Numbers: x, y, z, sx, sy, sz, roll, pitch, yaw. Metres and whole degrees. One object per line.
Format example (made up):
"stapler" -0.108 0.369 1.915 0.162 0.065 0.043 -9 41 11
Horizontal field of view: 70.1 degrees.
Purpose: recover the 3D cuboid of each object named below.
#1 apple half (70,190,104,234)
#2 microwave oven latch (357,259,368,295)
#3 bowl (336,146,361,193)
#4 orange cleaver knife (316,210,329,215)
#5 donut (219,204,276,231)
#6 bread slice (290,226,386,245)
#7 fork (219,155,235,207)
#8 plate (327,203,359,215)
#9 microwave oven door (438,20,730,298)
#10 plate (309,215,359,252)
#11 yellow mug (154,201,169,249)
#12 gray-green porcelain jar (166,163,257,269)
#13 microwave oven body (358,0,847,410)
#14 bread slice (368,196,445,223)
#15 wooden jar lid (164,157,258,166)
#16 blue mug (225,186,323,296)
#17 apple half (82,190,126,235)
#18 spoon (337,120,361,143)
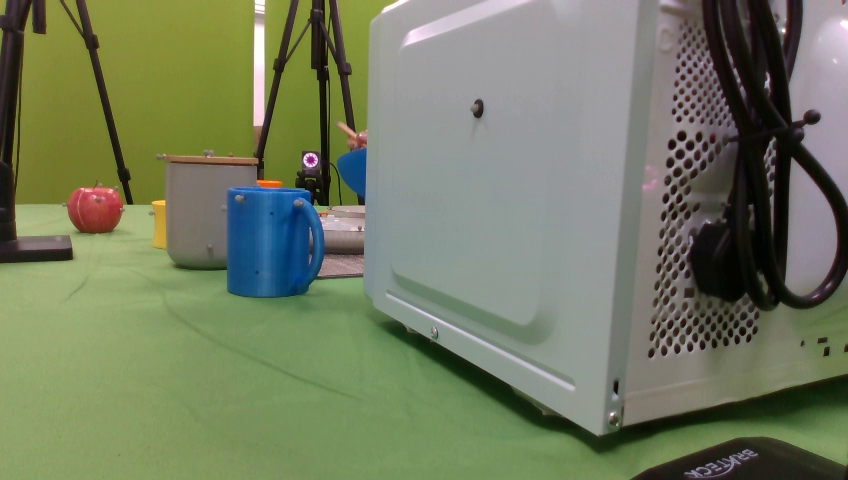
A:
"apple half" -0.552 -0.047 1.010 0.053 0.074 0.081 -1 9 26
"microwave oven latch" -0.019 0.031 0.529 0.079 0.029 0.030 -1 7 -26
"bowl" -0.067 -0.106 1.012 0.151 0.076 0.151 -8 -6 -1
"orange cleaver knife" -0.259 -0.064 1.423 0.212 0.012 0.077 -4 3 -30
"donut" -0.316 -0.039 1.083 0.099 0.048 0.099 3 7 0
"bread slice" -0.124 -0.008 0.938 0.131 0.019 0.105 4 8 32
"fork" -0.459 -0.134 1.415 0.028 0.018 0.207 -1 -34 -25
"plate" -0.102 -0.053 1.299 0.209 0.038 0.209 2 8 0
"microwave oven door" 0.181 -0.076 0.618 0.358 0.243 0.039 -2 8 -28
"plate" -0.130 -0.011 0.945 0.208 0.039 0.207 2 8 0
"yellow mug" -0.337 -0.022 0.899 0.130 0.064 0.100 7 9 34
"gray-green porcelain jar" -0.263 -0.031 0.754 0.106 0.126 0.106 2 7 0
"microwave oven body" 0.210 -0.051 0.471 0.444 0.260 0.324 -1 7 -28
"bread slice" -0.040 -0.057 1.142 0.107 0.018 0.133 -8 -8 -39
"wooden jar lid" -0.261 -0.093 0.746 0.108 0.020 0.108 0 9 0
"blue mug" -0.148 0.000 0.618 0.116 0.106 0.083 7 9 33
"apple half" -0.516 -0.046 0.994 0.032 0.081 0.081 0 6 26
"spoon" -0.099 -0.158 1.037 0.042 0.021 0.193 1 40 -45
